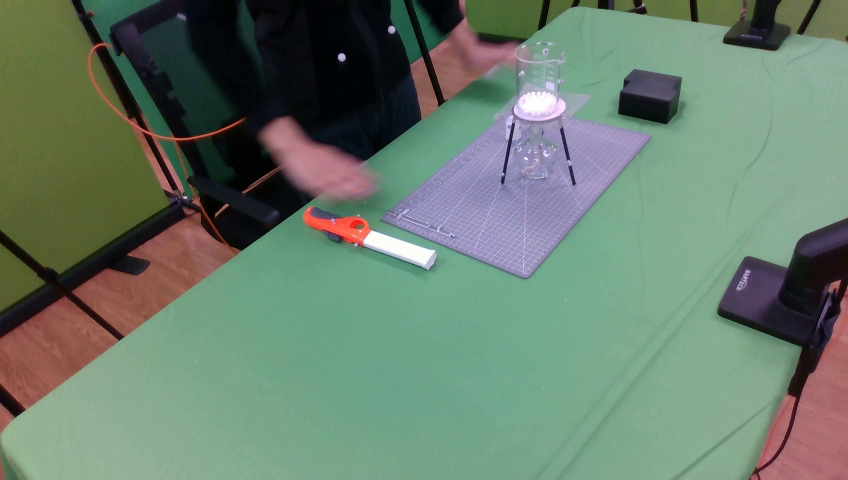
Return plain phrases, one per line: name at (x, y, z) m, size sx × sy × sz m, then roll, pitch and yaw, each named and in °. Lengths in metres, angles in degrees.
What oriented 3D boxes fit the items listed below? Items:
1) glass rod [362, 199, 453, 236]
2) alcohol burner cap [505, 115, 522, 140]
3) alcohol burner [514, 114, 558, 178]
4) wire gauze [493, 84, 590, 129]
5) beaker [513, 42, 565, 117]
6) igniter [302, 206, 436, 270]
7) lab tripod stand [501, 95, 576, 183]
glass rod at (-0.031, -0.041, 1.041) m, size 0.198 × 0.008 × 0.008 m, roll 22°, pitch 50°, yaw 31°
alcohol burner cap at (0.175, -0.223, 1.192) m, size 0.034 × 0.048 × 0.033 m, roll -6°, pitch 40°, yaw 5°
alcohol burner at (0.198, -0.170, 1.069) m, size 0.078 × 0.119 × 0.077 m, roll -4°, pitch 40°, yaw 4°
wire gauze at (0.197, -0.223, 1.013) m, size 0.120 × 0.011 × 0.125 m, roll 21°, pitch 47°, yaw 28°
beaker at (0.187, -0.257, 0.981) m, size 0.083 × 0.101 × 0.074 m, roll 21°, pitch 49°, yaw 29°
igniter at (-0.101, -0.007, 1.004) m, size 0.274 × 0.025 × 0.057 m, roll 19°, pitch 58°, yaw 30°
lab tripod stand at (0.204, -0.174, 1.057) m, size 0.148 × 0.132 × 0.147 m, roll -4°, pitch 40°, yaw 4°
